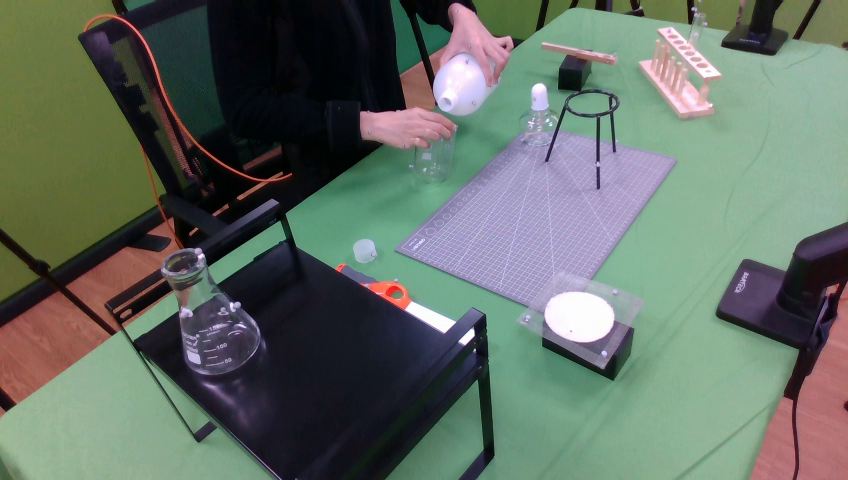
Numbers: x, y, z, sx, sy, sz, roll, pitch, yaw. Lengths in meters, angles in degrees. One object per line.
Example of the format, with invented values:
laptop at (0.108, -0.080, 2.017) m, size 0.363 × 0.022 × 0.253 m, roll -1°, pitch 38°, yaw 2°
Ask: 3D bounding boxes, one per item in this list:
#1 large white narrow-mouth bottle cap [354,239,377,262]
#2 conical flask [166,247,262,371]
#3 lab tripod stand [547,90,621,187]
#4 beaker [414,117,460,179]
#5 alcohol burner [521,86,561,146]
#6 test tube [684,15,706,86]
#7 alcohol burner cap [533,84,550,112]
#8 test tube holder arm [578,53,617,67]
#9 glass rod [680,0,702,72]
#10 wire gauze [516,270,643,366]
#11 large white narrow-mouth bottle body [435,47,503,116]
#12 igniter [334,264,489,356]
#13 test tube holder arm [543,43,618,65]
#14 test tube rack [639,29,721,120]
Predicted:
large white narrow-mouth bottle cap at (-0.095, 0.017, 0.981) m, size 0.038 × 0.024 × 0.037 m, roll -4°, pitch 40°, yaw 4°
conical flask at (-0.208, 0.064, 0.584) m, size 0.075 × 0.122 × 0.075 m, roll -5°, pitch 40°, yaw 4°
lab tripod stand at (0.288, -0.184, 1.062) m, size 0.148 × 0.132 × 0.147 m, roll -6°, pitch 41°, yaw 6°
beaker at (0.023, -0.167, 1.107) m, size 0.084 × 0.100 × 0.073 m, roll -6°, pitch 26°, yaw -32°
alcohol burner at (0.223, -0.241, 1.155) m, size 0.078 × 0.119 × 0.077 m, roll -5°, pitch 43°, yaw 5°
test tube at (0.540, -0.378, 1.215) m, size 0.017 × 0.151 × 0.017 m, roll -2°, pitch 44°, yaw 3°
alcohol burner cap at (0.218, -0.268, 1.132) m, size 0.034 × 0.048 × 0.033 m, roll -9°, pitch 36°, yaw 7°
test tube holder arm at (0.376, -0.393, 1.314) m, size 0.087 × 0.015 × 0.010 m, roll 26°, pitch 51°, yaw 32°
glass rod at (0.542, -0.417, 1.233) m, size 0.008 × 0.200 × 0.008 m, roll 1°, pitch 40°, yaw 0°
wire gauze at (0.200, 0.093, 0.777) m, size 0.124 × 0.011 × 0.122 m, roll 23°, pitch 49°, yaw 32°
large white narrow-mouth bottle body at (0.077, -0.294, 1.149) m, size 0.101 × 0.102 × 0.195 m, roll 10°, pitch 36°, yaw 21°
igniter at (-0.030, 0.095, 0.871) m, size 0.274 × 0.025 × 0.057 m, roll 22°, pitch 59°, yaw 31°
test tube holder arm at (0.344, -0.413, 1.340) m, size 0.177 × 0.015 × 0.013 m, roll 25°, pitch 51°, yaw 31°
test tube rack at (0.527, -0.351, 1.262) m, size 0.067 × 0.085 × 0.241 m, roll -8°, pitch 40°, yaw 1°
